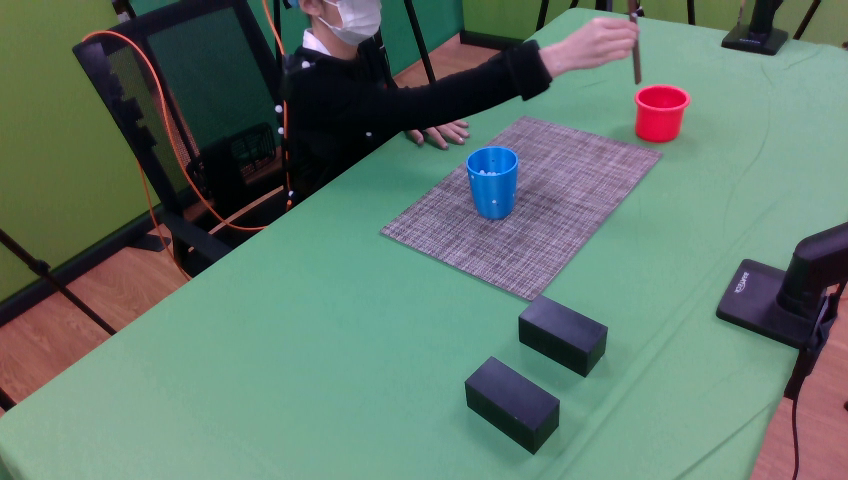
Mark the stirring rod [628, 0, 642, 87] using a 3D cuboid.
[{"bbox_3d":[0.352,-0.325,1.004,0.014,0.177,0.005,-42,50,-11],"label":"stirring rod"}]

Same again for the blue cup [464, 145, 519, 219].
[{"bbox_3d":[0.115,-0.091,0.997,0.092,0.101,0.092,-5,42,5],"label":"blue cup"}]
